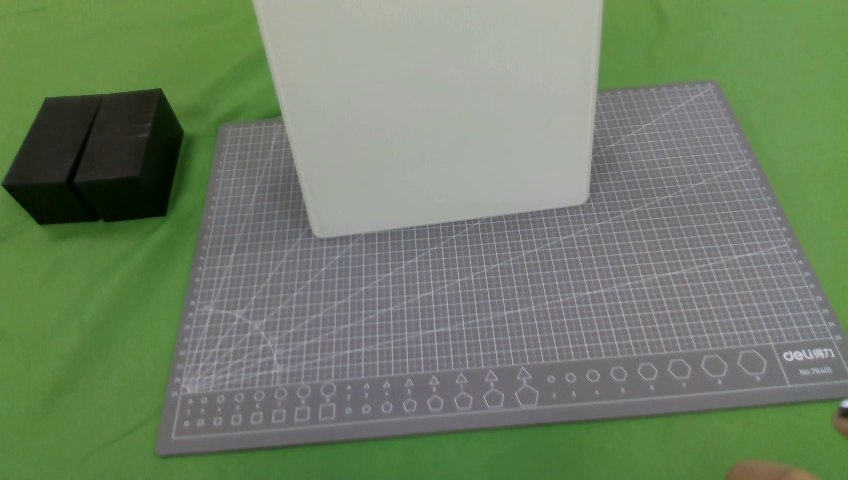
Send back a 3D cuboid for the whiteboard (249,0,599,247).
[{"bbox_3d":[0.001,-0.172,0.436,0.217,0.308,0.142,-7,35,0],"label":"whiteboard"}]
